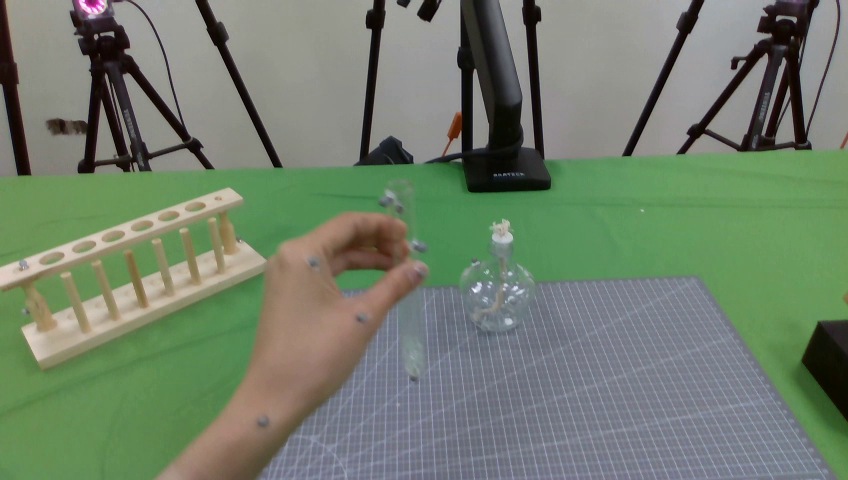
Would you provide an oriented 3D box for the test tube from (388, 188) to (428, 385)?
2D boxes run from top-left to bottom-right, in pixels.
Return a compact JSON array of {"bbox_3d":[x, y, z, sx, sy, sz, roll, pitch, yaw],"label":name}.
[{"bbox_3d":[-0.008,0.035,0.375,0.017,0.151,0.017,-2,35,2],"label":"test tube"}]

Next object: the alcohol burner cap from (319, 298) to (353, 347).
[{"bbox_3d":[-0.090,0.080,0.609,0.034,0.048,0.033,-1,34,1],"label":"alcohol burner cap"}]

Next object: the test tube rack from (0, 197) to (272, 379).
[{"bbox_3d":[-0.291,0.042,0.642,0.243,0.086,0.066,-26,40,-33],"label":"test tube rack"}]

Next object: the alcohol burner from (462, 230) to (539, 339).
[{"bbox_3d":[0.077,0.039,0.599,0.078,0.120,0.077,0,35,0],"label":"alcohol burner"}]
